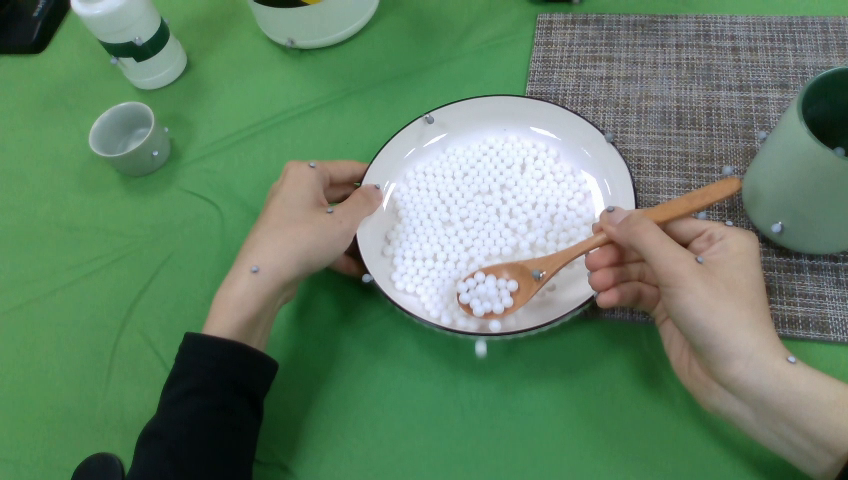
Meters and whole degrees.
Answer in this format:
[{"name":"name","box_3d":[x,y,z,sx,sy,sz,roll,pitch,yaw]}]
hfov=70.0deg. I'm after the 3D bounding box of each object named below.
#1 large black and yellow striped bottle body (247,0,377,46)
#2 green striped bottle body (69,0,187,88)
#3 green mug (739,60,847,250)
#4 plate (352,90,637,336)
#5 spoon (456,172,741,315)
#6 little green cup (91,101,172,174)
[{"name":"large black and yellow striped bottle body","box_3d":[-0.122,-0.286,0.548,0.130,0.185,0.129,-4,62,8]},{"name":"green striped bottle body","box_3d":[-0.280,-0.206,0.569,0.063,0.120,0.062,-4,61,8]},{"name":"green mug","box_3d":[0.283,-0.045,0.394,0.124,0.106,0.092,27,69,21]},{"name":"plate","box_3d":[0.051,-0.022,0.459,0.209,0.038,0.207,-4,62,7]},{"name":"spoon","box_3d":[0.111,0.001,0.394,0.193,0.022,0.041,-26,54,14]},{"name":"little green cup","box_3d":[-0.264,-0.092,0.552,0.061,0.039,0.061,-4,61,7]}]
